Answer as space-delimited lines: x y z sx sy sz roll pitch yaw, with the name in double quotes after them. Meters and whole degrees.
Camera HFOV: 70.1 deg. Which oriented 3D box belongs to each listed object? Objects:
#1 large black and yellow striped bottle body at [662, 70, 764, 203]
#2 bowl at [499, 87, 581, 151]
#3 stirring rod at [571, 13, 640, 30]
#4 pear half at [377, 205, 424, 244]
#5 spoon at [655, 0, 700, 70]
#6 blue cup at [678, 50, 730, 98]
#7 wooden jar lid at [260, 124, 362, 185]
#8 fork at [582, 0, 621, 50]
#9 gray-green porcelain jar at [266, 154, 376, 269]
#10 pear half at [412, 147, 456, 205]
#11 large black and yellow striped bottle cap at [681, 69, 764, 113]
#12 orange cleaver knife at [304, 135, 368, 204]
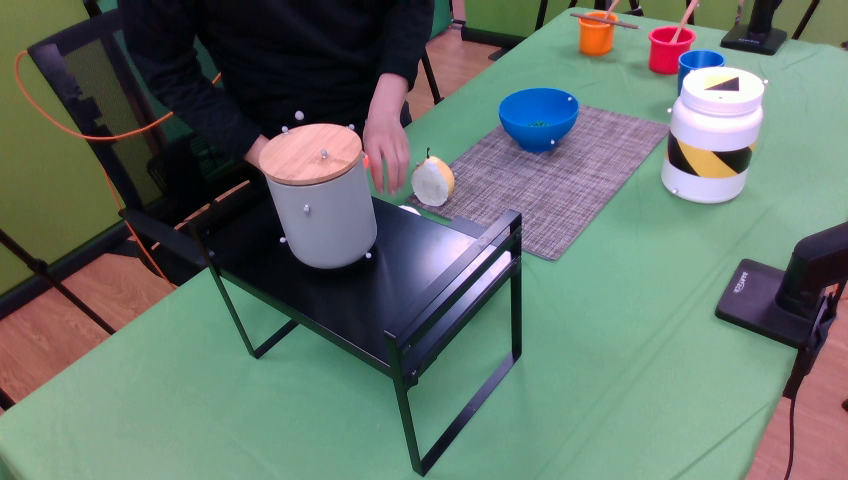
0.464 -0.166 0.976 0.131 0.185 0.130 -5 41 5 "large black and yellow striped bottle body"
0.220 -0.223 1.156 0.151 0.077 0.150 -4 40 4 "bowl"
0.419 -0.508 1.404 0.174 0.006 0.014 28 54 35 "stirring rod"
-0.041 -0.018 0.998 0.070 0.031 0.088 38 65 24 "pear half"
0.568 -0.463 1.337 0.041 0.022 0.193 30 97 38 "spoon"
0.542 -0.310 1.194 0.092 0.101 0.092 -6 41 6 "blue cup"
-0.119 -0.088 0.644 0.108 0.021 0.108 -4 40 3 "wooden jar lid"
0.446 -0.539 1.438 0.207 0.019 0.028 -57 35 12 "fork"
-0.112 -0.039 0.685 0.106 0.127 0.105 -4 40 4 "gray-green porcelain jar"
0.019 -0.120 1.043 0.076 0.110 0.056 12 44 16 "pear half"
0.453 -0.229 0.921 0.115 0.019 0.114 -4 39 4 "large black and yellow striped bottle cap"
-0.145 -0.096 0.979 0.077 0.210 0.012 49 54 1 "orange cleaver knife"
